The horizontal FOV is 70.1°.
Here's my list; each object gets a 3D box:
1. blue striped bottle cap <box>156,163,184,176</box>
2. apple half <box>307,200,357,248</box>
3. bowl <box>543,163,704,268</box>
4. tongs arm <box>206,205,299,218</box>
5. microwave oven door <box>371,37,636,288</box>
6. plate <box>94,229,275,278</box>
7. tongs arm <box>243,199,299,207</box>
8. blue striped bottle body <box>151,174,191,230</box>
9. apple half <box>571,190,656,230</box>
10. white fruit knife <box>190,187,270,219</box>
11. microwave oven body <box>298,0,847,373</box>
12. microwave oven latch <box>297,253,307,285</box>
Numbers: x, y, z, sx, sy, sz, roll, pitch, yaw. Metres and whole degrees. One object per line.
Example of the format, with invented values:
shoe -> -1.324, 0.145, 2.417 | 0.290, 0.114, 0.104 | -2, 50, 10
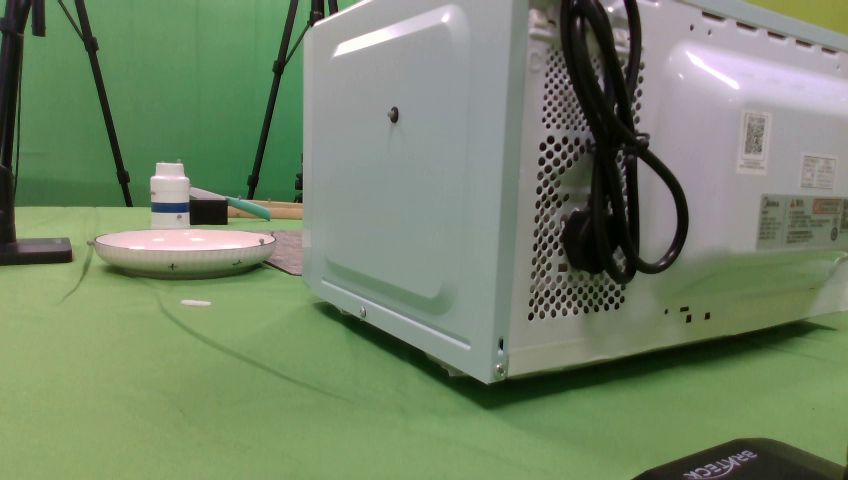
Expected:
blue striped bottle cap -> -0.438, -0.121, 1.045 | 0.044, 0.020, 0.044 | 5, 6, 0
apple half -> -0.135, -0.024, 0.941 | 0.053, 0.074, 0.081 | 13, 8, 38
bowl -> 0.181, -0.020, 0.585 | 0.151, 0.077, 0.151 | 13, 7, -1
tongs arm -> -0.302, -0.065, 1.407 | 0.389, 0.028, 0.028 | 1, 4, -15
microwave oven door -> 0.110, -0.080, 0.686 | 0.358, 0.243, 0.039 | -2, 9, -33
plate -> -0.291, 0.016, 0.749 | 0.208, 0.039, 0.207 | 2, 7, 0
tongs arm -> -0.309, -0.079, 1.487 | 0.385, 0.026, 0.050 | 3, 7, -2
blue striped bottle body -> -0.439, -0.071, 1.052 | 0.063, 0.120, 0.063 | 2, 7, 0
apple half -> 0.181, -0.031, 0.583 | 0.081, 0.033, 0.081 | 11, -4, 1
white fruit knife -> -0.413, -0.081, 1.270 | 0.208, 0.027, 0.016 | 17, 14, -41
microwave oven body -> 0.151, -0.055, 0.542 | 0.444, 0.260, 0.324 | -1, 7, -33
microwave oven latch -> -0.082, 0.027, 0.582 | 0.079, 0.029, 0.030 | -1, 8, -33
